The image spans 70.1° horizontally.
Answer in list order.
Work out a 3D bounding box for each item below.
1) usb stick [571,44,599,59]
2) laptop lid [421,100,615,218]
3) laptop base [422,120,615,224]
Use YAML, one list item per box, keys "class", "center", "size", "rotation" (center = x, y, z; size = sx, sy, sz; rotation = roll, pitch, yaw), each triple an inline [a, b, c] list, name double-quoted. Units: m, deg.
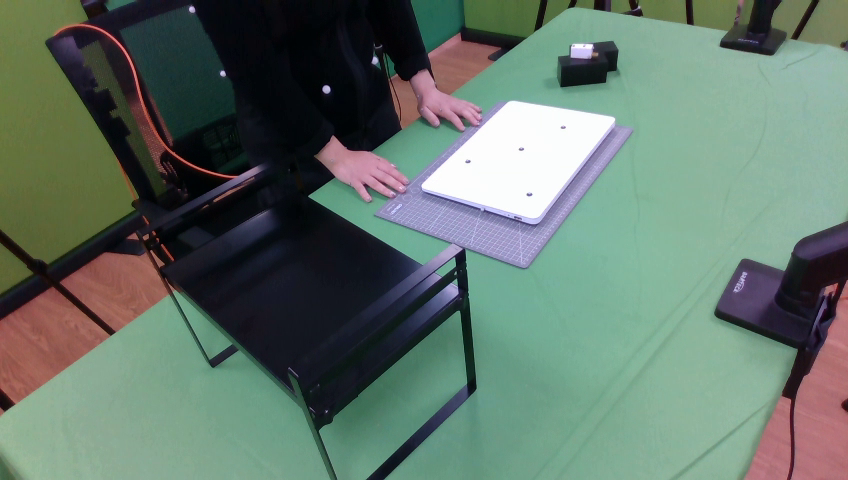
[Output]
- class: "usb stick"
  center: [0.352, -0.412, 1.322]
  size: [0.059, 0.027, 0.021]
  rotation: [13, 44, 19]
- class: "laptop lid"
  center: [0.182, -0.167, 1.126]
  size: [0.240, 0.013, 0.357]
  rotation: [19, 47, 31]
- class: "laptop base"
  center: [0.185, -0.158, 1.134]
  size: [0.234, 0.023, 0.355]
  rotation: [17, 46, 30]
